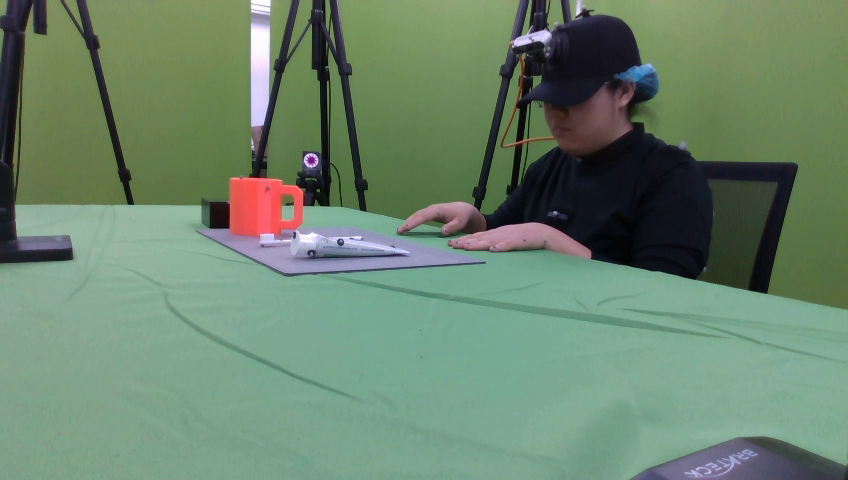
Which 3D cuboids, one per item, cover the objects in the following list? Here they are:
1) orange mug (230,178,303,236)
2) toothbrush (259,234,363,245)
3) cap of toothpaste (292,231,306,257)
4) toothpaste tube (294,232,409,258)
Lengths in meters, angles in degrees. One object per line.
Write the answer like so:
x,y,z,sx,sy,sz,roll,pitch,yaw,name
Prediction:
-0.275,-0.060,1.058,0.126,0.101,0.083,-2,8,-5,orange mug
-0.175,-0.002,0.958,0.183,0.016,0.014,-1,-5,-39,toothbrush
-0.169,0.005,0.812,0.011,0.037,0.037,6,4,-29,cap of toothpaste
-0.102,0.010,0.853,0.166,0.034,0.055,3,10,-34,toothpaste tube
